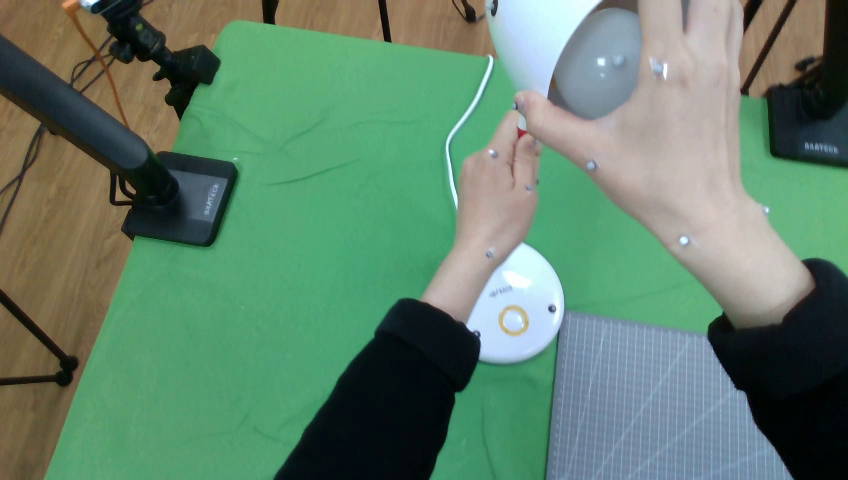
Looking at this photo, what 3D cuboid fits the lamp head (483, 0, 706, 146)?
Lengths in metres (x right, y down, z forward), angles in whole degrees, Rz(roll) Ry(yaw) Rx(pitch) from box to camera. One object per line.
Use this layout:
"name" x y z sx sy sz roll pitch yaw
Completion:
"lamp head" 0.091 -0.133 0.381 0.112 0.113 0.121 -26 47 -11

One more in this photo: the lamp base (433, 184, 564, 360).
"lamp base" 0.083 0.027 0.671 0.160 0.181 0.178 -29 68 -12

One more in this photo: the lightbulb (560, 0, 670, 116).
"lightbulb" 0.105 -0.121 0.360 0.059 0.060 0.106 -7 55 -3
